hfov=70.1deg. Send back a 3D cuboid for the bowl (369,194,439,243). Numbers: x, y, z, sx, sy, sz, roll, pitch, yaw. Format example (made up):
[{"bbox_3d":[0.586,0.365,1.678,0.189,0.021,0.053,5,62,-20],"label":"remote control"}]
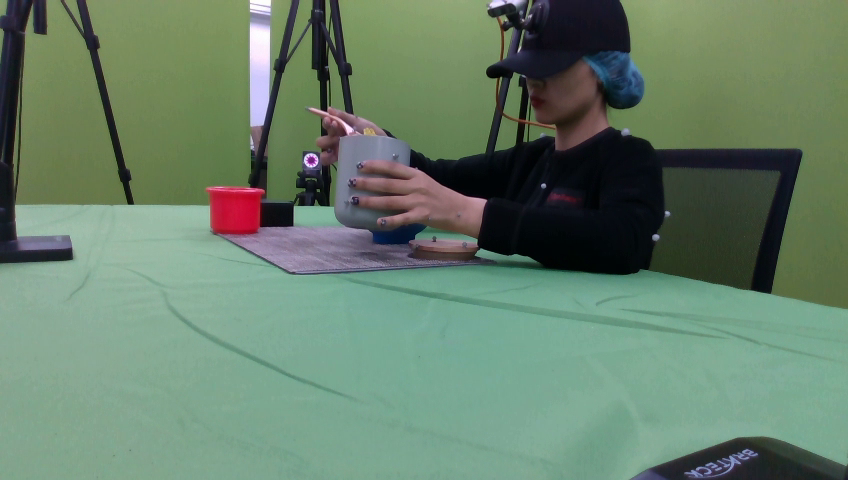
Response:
[{"bbox_3d":[-0.050,-0.038,1.033,0.151,0.077,0.151,3,7,0],"label":"bowl"}]

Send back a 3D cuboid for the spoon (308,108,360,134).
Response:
[{"bbox_3d":[-0.142,-0.197,1.017,0.042,0.021,0.192,-5,30,-41],"label":"spoon"}]

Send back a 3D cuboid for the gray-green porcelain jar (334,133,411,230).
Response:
[{"bbox_3d":[-0.075,-0.081,0.878,0.106,0.126,0.106,4,-4,1],"label":"gray-green porcelain jar"}]

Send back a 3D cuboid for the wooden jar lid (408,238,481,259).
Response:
[{"bbox_3d":[0.031,0.012,0.895,0.108,0.020,0.108,2,8,0],"label":"wooden jar lid"}]
